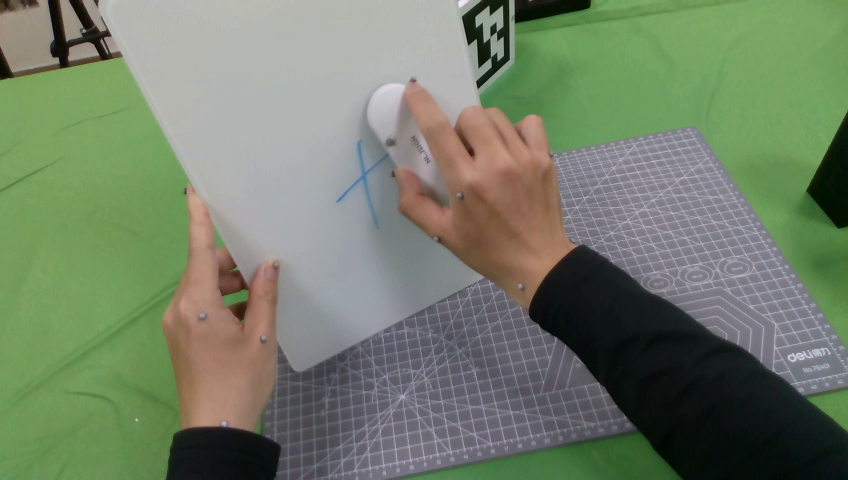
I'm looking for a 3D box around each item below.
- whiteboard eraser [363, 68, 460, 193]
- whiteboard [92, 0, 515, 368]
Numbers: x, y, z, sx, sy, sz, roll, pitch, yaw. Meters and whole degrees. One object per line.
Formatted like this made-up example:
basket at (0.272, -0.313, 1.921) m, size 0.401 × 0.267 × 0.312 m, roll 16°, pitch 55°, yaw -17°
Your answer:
whiteboard eraser at (-0.008, -0.078, 0.441) m, size 0.041 × 0.102 × 0.018 m, roll -36°, pitch 33°, yaw -5°
whiteboard at (-0.079, -0.092, 0.494) m, size 0.217 × 0.308 × 0.142 m, roll -26°, pitch 33°, yaw -12°
